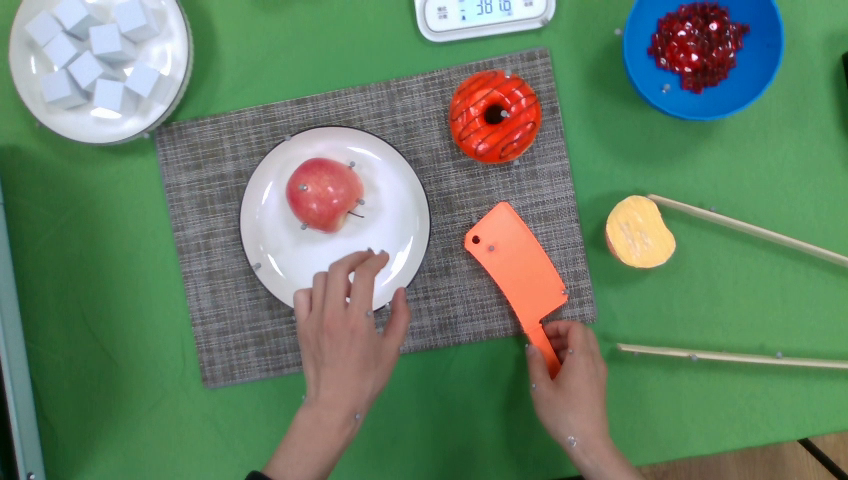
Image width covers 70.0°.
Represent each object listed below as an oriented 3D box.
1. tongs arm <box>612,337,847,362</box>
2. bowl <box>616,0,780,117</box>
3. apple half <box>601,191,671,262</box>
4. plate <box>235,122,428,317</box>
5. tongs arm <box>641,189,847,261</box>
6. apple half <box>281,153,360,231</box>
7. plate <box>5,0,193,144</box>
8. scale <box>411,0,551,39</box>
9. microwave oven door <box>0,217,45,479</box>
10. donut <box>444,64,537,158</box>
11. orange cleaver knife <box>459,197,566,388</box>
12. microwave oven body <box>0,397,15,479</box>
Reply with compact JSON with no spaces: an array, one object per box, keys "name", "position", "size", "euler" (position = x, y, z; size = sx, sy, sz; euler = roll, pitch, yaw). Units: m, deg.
[{"name":"tongs arm","position":[0.395,0.102,0.633],"size":[0.385,0.026,0.050],"euler":[5,88,3]},{"name":"bowl","position":[0.263,-0.193,0.610],"size":[0.151,0.077,0.151],"euler":[0,93,4]},{"name":"apple half","position":[0.215,-0.009,0.638],"size":[0.081,0.033,0.081],"euler":[5,73,-16]},{"name":"plate","position":[-0.098,-0.022,0.657],"size":[0.209,0.038,0.209],"euler":[0,92,4]},{"name":"tongs arm","position":[0.411,0.017,0.632],"size":[0.387,0.028,0.028],"euler":[20,85,3]},{"name":"apple half","position":[-0.114,-0.053,0.642],"size":[0.074,0.053,0.081],"euler":[43,94,5]},{"name":"plate","position":[-0.354,-0.209,0.672],"size":[0.207,0.039,0.207],"euler":[0,92,4]},{"name":"scale","position":[0.053,-0.324,0.643],"size":[0.148,0.031,0.201],"euler":[-6,92,5]},{"name":"microwave oven door","position":[-0.480,0.136,0.573],"size":[0.039,0.244,0.355],"euler":[-8,91,5]},{"name":"donut","position":[0.069,-0.135,0.639],"size":[0.099,0.048,0.099],"euler":[0,93,6]},{"name":"orange cleaver knife","position":[0.112,0.055,0.652],"size":[0.077,0.012,0.211],"euler":[-28,88,-6]},{"name":"microwave oven body","position":[-0.630,0.114,0.587],"size":[0.326,0.260,0.441],"euler":[-8,92,4]}]
